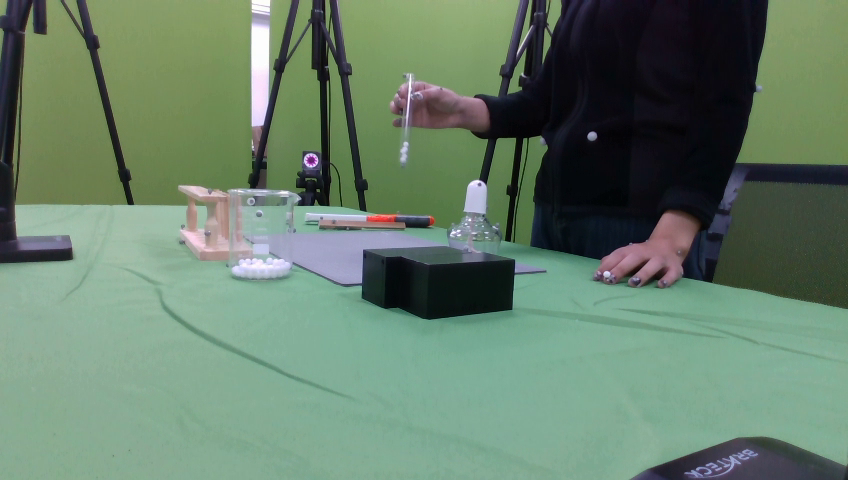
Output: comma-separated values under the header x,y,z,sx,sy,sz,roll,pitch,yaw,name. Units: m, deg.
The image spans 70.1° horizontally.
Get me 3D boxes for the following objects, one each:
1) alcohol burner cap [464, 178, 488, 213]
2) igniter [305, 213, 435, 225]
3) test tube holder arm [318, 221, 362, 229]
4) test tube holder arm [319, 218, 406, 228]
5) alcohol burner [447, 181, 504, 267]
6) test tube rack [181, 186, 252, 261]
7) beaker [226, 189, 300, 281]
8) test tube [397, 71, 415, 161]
x,y,z,sx,sy,sz,roll,pitch,yaw,name
0.073,-0.060,0.824,0.034,0.048,0.034,6,3,0,alcohol burner cap
-0.113,-0.046,1.299,0.277,0.025,0.057,1,-3,-12,igniter
-0.166,-0.031,1.203,0.088,0.015,0.010,0,-23,-20,test tube holder arm
-0.122,-0.032,1.214,0.179,0.015,0.013,1,-23,-20,test tube holder arm
0.070,-0.024,0.828,0.078,0.119,0.078,1,6,0,alcohol burner
-0.312,-0.031,0.893,0.067,0.085,0.241,-1,8,-27,test tube rack
-0.184,-0.007,0.694,0.084,0.100,0.073,-1,8,-29,beaker
-0.028,-0.195,0.952,0.017,0.150,0.017,5,-13,1,test tube
